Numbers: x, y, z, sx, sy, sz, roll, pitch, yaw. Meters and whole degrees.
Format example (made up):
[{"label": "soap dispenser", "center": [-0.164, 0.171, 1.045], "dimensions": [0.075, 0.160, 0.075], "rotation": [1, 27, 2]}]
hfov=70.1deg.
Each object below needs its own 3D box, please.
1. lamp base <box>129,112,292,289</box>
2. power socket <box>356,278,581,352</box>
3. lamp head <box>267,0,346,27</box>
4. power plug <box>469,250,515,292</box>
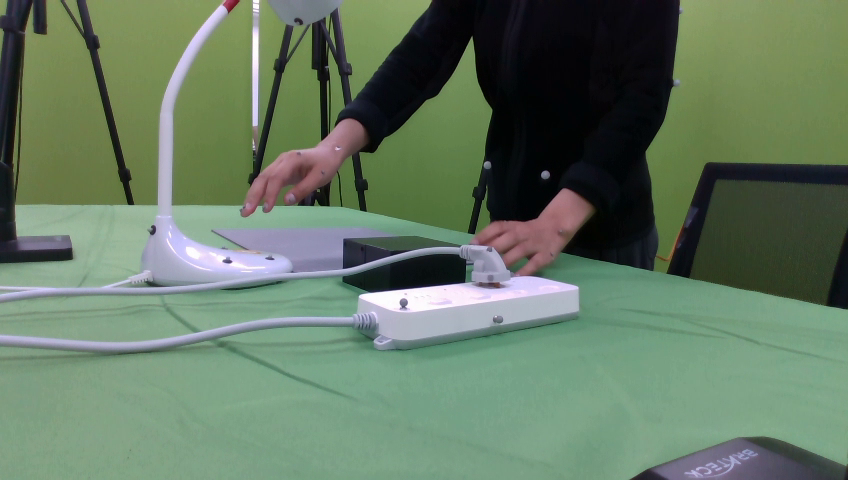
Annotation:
[{"label": "lamp base", "center": [-0.233, -0.045, 0.658], "dimensions": [0.160, 0.180, 0.180], "rotation": [7, 11, 29]}, {"label": "power socket", "center": [0.045, 0.059, 0.523], "dimensions": [0.228, 0.032, 0.072], "rotation": [-3, 8, -36]}, {"label": "lamp head", "center": [-0.157, -0.326, 0.701], "dimensions": [0.112, 0.112, 0.123], "rotation": [6, -16, 26]}, {"label": "power plug", "center": [0.052, 0.037, 0.529], "dimensions": [0.035, 0.052, 0.073], "rotation": [-12, 2, 37]}]
